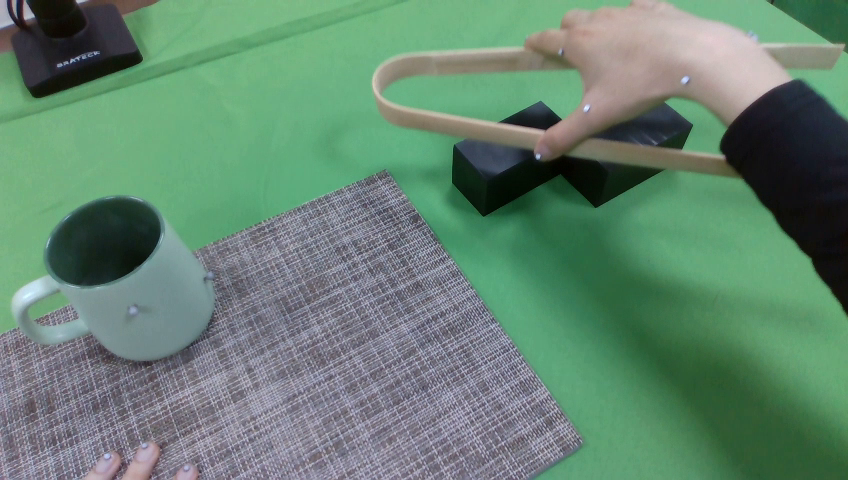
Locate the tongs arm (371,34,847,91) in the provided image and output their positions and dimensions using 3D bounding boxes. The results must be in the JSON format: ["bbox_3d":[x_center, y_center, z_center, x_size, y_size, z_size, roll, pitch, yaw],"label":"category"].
[{"bbox_3d":[0.149,-0.145,0.509,0.384,0.027,0.050,2,63,7],"label":"tongs arm"}]

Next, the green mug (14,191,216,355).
[{"bbox_3d":[-0.226,0.033,0.443,0.125,0.106,0.091,-27,59,-17],"label":"green mug"}]

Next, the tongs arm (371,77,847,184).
[{"bbox_3d":[0.138,-0.084,0.475,0.386,0.028,0.028,11,68,12],"label":"tongs arm"}]
